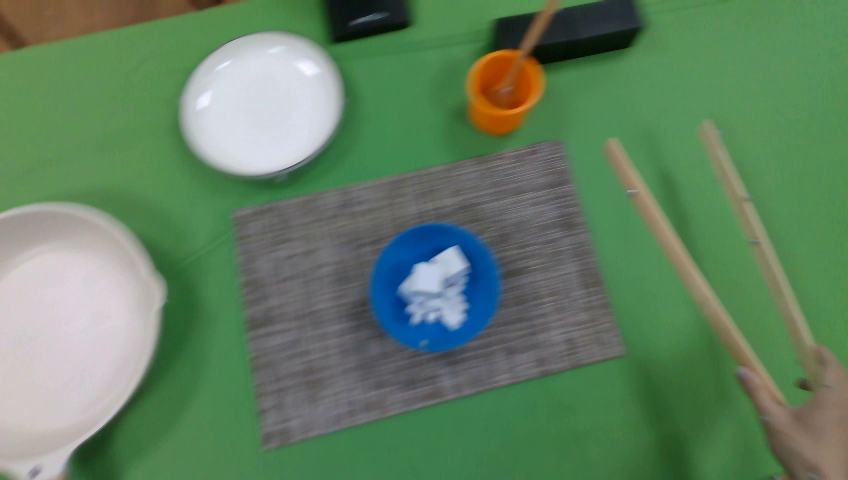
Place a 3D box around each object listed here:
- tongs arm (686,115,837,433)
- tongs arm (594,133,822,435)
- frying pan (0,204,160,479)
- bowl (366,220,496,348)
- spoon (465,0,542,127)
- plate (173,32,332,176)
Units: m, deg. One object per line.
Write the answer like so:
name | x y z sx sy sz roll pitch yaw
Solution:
tongs arm | 0.368 0.022 0.690 0.051 0.026 0.381 -9 67 -18
tongs arm | 0.297 0.039 0.667 0.028 0.028 0.384 -20 70 -25
frying pan | -0.423 0.195 0.671 0.307 0.103 0.483 -16 67 -5
bowl | 0.007 0.058 0.729 0.151 0.077 0.150 1 75 -2
spoon | 0.107 -0.233 0.780 0.041 0.194 0.021 34 32 11
plate | -0.226 -0.179 0.814 0.208 0.039 0.206 0 75 -1
